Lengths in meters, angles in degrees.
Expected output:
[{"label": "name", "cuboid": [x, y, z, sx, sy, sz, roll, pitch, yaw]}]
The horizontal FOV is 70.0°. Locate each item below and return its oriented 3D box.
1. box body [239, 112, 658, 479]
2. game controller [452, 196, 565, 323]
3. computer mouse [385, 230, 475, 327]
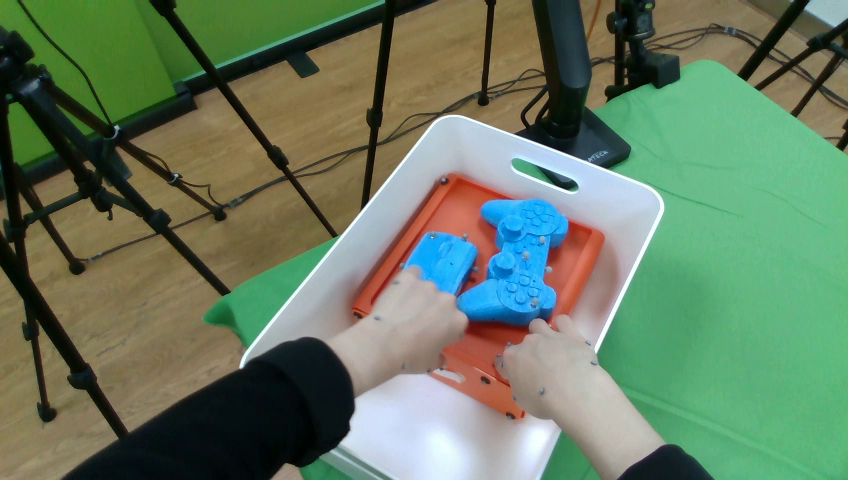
[{"label": "box body", "cuboid": [0.039, 0.075, 0.605, 0.253, 0.162, 0.362, 25, 59, 17]}, {"label": "game controller", "cuboid": [0.091, 0.015, 0.626, 0.097, 0.052, 0.154, 13, 56, 6]}, {"label": "computer mouse", "cuboid": [0.008, 0.033, 0.620, 0.062, 0.041, 0.116, 16, 51, 14]}]
